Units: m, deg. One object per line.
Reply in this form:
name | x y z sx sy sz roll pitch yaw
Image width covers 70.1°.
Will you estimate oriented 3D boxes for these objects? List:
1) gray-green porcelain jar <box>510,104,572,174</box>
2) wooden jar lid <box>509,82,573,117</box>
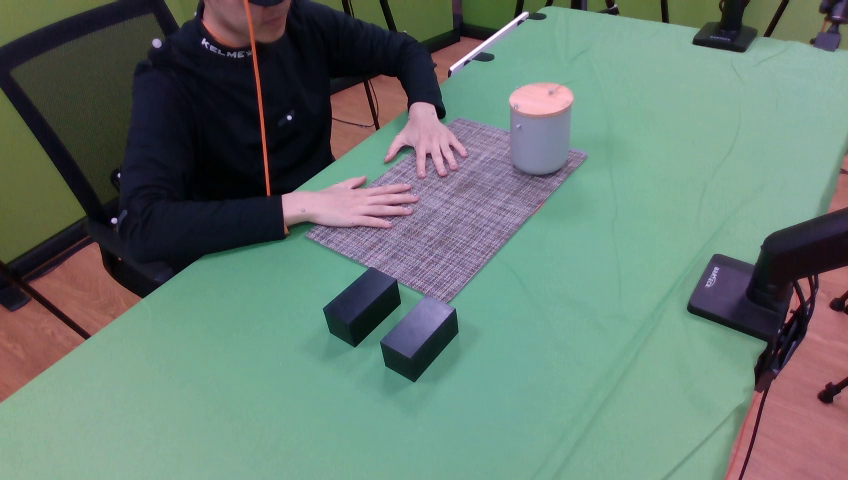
gray-green porcelain jar | 0.206 -0.190 1.073 0.106 0.127 0.105 -4 41 4
wooden jar lid | 0.200 -0.236 1.033 0.108 0.021 0.108 -6 42 6
